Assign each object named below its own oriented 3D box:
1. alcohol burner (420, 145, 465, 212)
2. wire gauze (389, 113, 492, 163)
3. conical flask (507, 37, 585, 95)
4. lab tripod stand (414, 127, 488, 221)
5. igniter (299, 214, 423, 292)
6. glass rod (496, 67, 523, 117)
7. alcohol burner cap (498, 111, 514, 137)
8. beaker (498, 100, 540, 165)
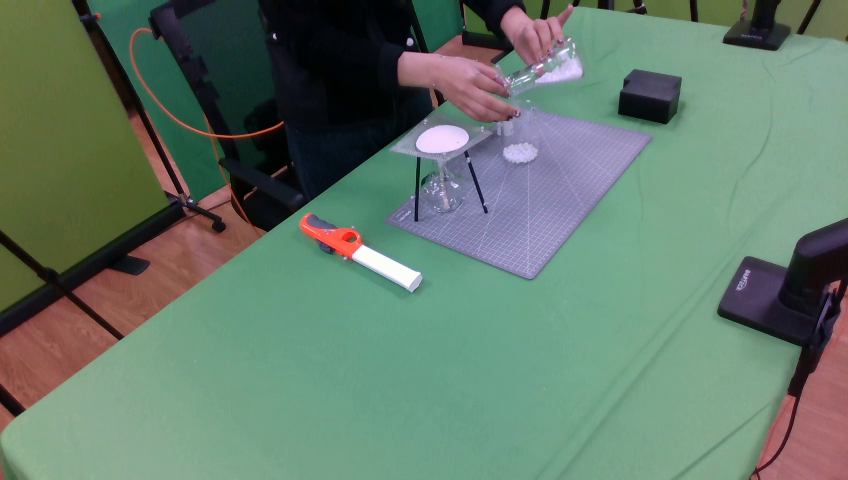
[{"bbox_3d":[0.030,-0.108,1.030,0.078,0.119,0.077,-5,38,4],"label":"alcohol burner"},{"bbox_3d":[0.026,-0.164,0.977,0.120,0.011,0.125,24,49,35],"label":"wire gauze"},{"bbox_3d":[0.204,-0.287,1.026,0.122,0.076,0.075,-22,39,10],"label":"conical flask"},{"bbox_3d":[0.035,-0.114,1.021,0.148,0.132,0.147,-7,39,6],"label":"lab tripod stand"},{"bbox_3d":[-0.112,0.016,0.983,0.274,0.025,0.057,26,62,35],"label":"igniter"},{"bbox_3d":[0.148,-0.249,1.036,0.008,0.201,0.008,-4,78,19],"label":"glass rod"},{"bbox_3d":[0.163,-0.235,1.211,0.034,0.048,0.033,-6,40,6],"label":"alcohol burner cap"},{"bbox_3d":[0.180,-0.196,1.117,0.074,0.101,0.083,-25,43,-17],"label":"beaker"}]
